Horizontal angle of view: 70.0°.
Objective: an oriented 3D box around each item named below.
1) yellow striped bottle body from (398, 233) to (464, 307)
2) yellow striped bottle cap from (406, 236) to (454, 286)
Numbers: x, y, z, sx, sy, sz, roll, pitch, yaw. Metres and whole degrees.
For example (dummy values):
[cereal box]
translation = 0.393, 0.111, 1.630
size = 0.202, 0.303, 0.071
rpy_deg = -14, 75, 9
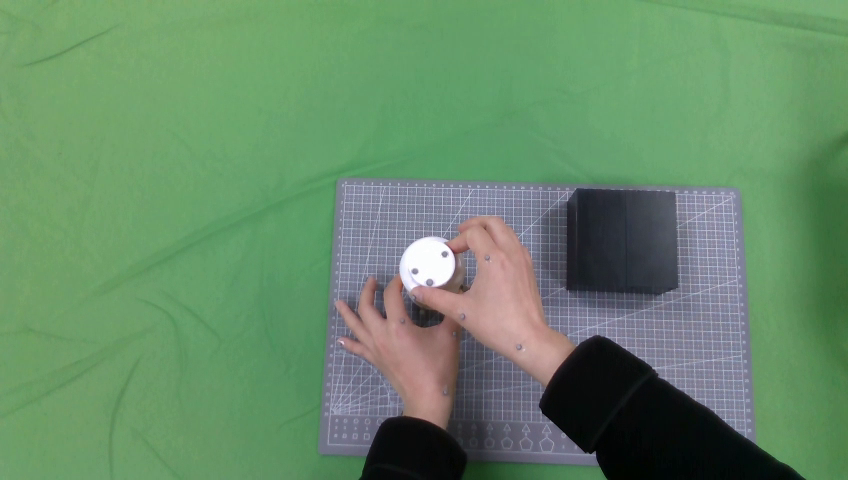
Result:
[yellow striped bottle body]
translation = 0.008, 0.030, 0.602
size = 0.063, 0.121, 0.062
rpy_deg = 0, 79, 2
[yellow striped bottle cap]
translation = 0.006, 0.019, 0.551
size = 0.044, 0.019, 0.044
rpy_deg = 0, 79, 1
